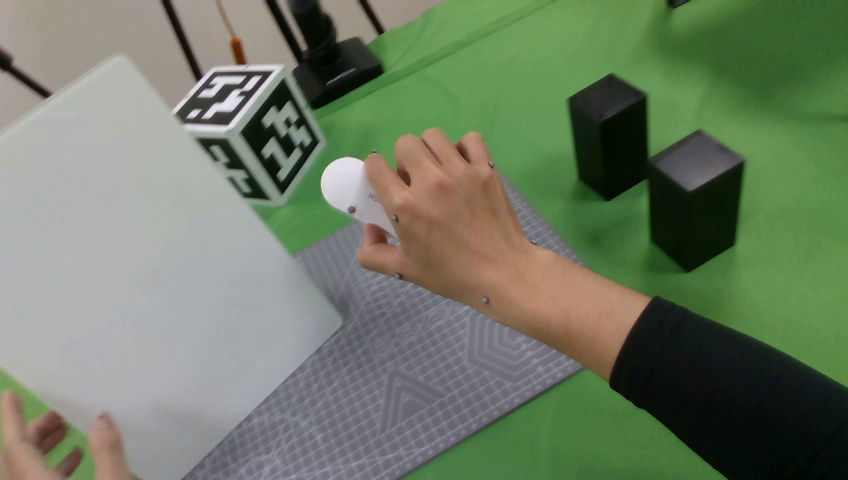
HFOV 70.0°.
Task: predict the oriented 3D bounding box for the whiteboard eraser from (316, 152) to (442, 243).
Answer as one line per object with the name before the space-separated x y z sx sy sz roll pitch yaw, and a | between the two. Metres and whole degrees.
whiteboard eraser | -0.034 -0.032 0.460 0.101 0.019 0.041 27 81 -5

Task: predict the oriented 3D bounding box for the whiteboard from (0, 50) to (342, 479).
whiteboard | -0.264 0.028 0.544 0.217 0.308 0.142 -45 30 -17
